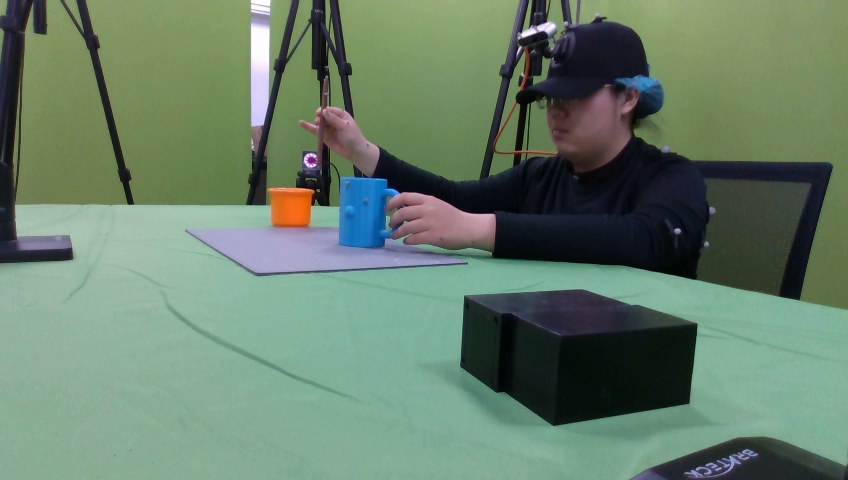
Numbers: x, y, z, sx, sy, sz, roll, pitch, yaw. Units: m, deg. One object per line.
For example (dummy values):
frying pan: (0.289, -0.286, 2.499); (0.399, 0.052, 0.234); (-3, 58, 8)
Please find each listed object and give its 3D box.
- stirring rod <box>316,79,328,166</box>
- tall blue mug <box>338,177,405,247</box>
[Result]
stirring rod: (-0.200, -0.232, 1.187); (0.006, 0.176, 0.014); (2, -9, 15)
tall blue mug: (-0.083, -0.046, 0.977); (0.107, 0.108, 0.078); (2, 6, -1)
